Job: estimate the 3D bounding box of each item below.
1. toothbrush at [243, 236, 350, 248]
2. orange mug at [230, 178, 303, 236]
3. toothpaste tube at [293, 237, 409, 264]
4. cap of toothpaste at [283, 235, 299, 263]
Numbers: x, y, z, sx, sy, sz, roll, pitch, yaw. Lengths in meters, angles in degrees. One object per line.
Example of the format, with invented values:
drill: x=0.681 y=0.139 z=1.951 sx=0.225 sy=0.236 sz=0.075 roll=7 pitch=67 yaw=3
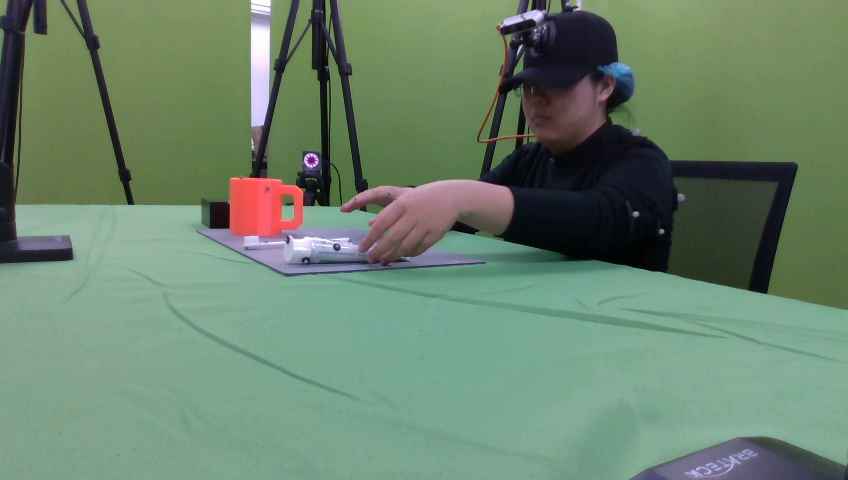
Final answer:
toothbrush: x=-0.191 y=0.001 z=0.927 sx=0.183 sy=0.016 sz=0.014 roll=-2 pitch=-8 yaw=-41
orange mug: x=-0.276 y=-0.060 z=1.058 sx=0.126 sy=0.101 sz=0.083 roll=-2 pitch=8 yaw=-5
toothpaste tube: x=-0.101 y=0.016 z=0.806 sx=0.166 sy=0.034 sz=0.055 roll=3 pitch=12 yaw=-34
cap of toothpaste: x=-0.168 y=0.012 z=0.764 sx=0.011 sy=0.037 sz=0.037 roll=3 pitch=5 yaw=-34
